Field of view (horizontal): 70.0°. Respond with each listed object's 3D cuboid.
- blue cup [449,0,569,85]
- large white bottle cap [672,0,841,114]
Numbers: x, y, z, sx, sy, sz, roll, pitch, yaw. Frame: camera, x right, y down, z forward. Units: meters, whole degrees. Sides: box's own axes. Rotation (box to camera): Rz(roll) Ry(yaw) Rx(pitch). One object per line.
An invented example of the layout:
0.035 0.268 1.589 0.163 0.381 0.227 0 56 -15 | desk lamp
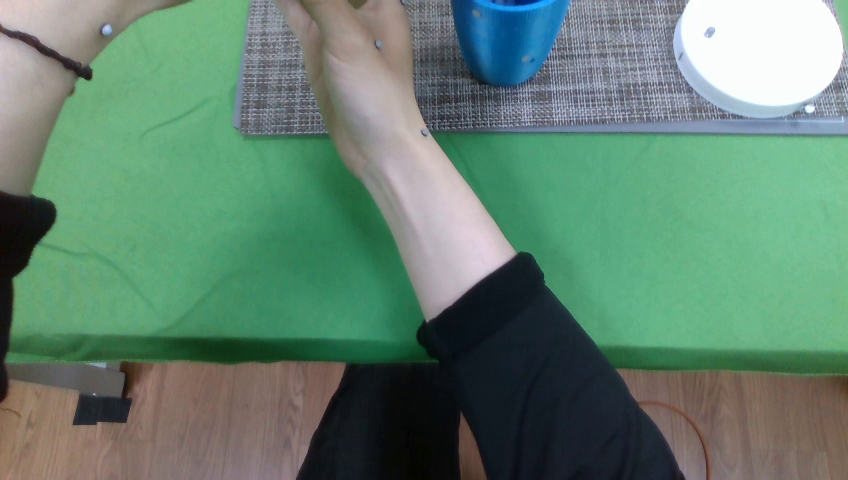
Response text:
0.056 -0.157 0.409 0.092 0.101 0.092 -1 72 4 | blue cup
0.242 -0.146 0.442 0.115 0.018 0.114 -1 72 2 | large white bottle cap
